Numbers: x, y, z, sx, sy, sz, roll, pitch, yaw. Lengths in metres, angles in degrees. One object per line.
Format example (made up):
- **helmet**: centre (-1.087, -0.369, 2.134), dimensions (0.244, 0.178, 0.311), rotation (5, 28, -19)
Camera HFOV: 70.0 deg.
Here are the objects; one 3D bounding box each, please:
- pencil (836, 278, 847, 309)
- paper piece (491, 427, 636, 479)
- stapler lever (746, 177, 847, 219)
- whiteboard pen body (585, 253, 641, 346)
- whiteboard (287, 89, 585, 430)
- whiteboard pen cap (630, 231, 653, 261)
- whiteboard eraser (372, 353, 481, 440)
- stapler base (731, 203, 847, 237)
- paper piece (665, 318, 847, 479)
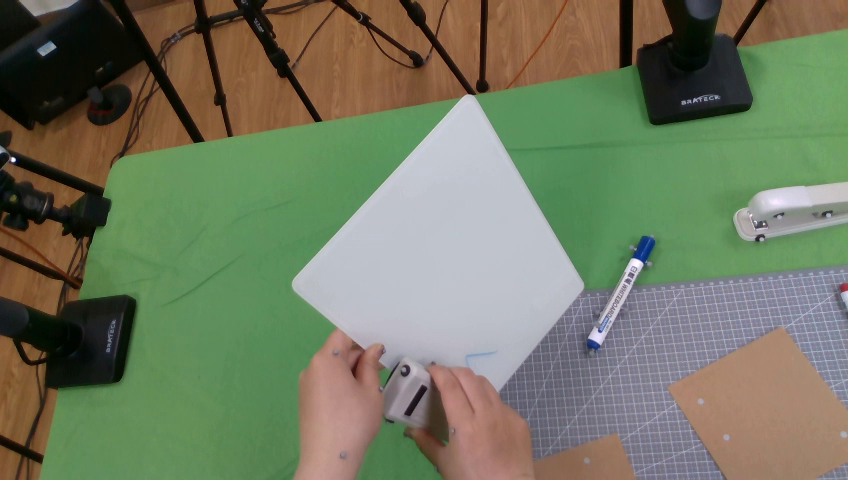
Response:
- **pencil**: centre (0.439, 0.127, 0.587), dimensions (0.012, 0.012, 0.192), rotation (-10, 66, 11)
- **paper piece**: centre (0.151, 0.271, 0.599), dimensions (0.135, 0.004, 0.134), rotation (-20, 63, 4)
- **stapler lever**: centre (0.407, -0.047, 0.645), dimensions (0.118, 0.040, 0.026), rotation (-13, 66, 9)
- **whiteboard pen body**: centre (0.216, 0.055, 0.677), dimensions (0.017, 0.017, 0.140), rotation (25, 73, 24)
- **whiteboard**: centre (0.003, 0.016, 0.626), dimensions (0.217, 0.309, 0.142), rotation (-47, 42, -8)
- **whiteboard pen cap**: centre (0.247, 0.007, 0.690), dimensions (0.018, 0.018, 0.033), rotation (24, 74, 24)
- **whiteboard eraser**: centre (0.002, 0.150, 0.579), dimensions (0.055, 0.114, 0.041), rotation (-54, 42, -1)
- **stapler base**: centre (0.411, -0.037, 0.666), dimensions (0.130, 0.024, 0.041), rotation (-12, 66, 8)
- **paper piece**: centre (0.335, 0.167, 0.598), dimensions (0.136, 0.009, 0.137), rotation (-29, 64, 6)
